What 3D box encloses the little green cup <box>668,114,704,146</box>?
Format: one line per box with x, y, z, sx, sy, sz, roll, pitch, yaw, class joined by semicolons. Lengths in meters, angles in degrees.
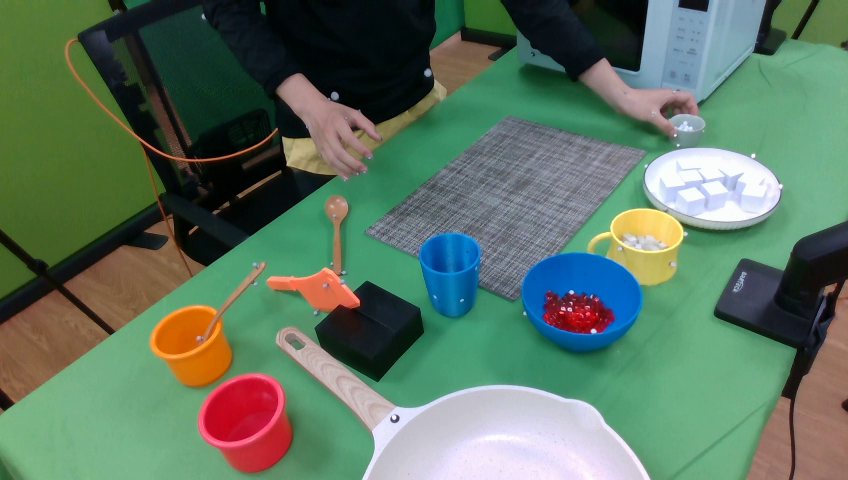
0.484;-0.203;1.122;0.061;0.039;0.061;-4;41;4;little green cup

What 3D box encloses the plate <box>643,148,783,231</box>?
0.464;-0.080;0.986;0.207;0.039;0.206;-4;41;4;plate

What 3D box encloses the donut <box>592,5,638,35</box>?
0.428;-0.492;1.352;0.099;0.048;0.098;-6;42;6;donut

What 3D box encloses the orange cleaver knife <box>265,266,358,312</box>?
-0.164;0.073;0.864;0.210;0.077;0.012;-6;31;50;orange cleaver knife

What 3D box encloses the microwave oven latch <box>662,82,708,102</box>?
0.517;-0.298;1.202;0.078;0.029;0.030;27;52;34;microwave oven latch

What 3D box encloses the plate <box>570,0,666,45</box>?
0.436;-0.489;1.368;0.209;0.038;0.208;-5;40;5;plate

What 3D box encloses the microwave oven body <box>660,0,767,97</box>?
0.473;-0.516;1.313;0.438;0.261;0.327;26;51;34;microwave oven body

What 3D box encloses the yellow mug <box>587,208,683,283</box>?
0.305;0.009;0.884;0.131;0.064;0.099;-4;41;5;yellow mug

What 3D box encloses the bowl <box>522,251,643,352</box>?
0.204;0.093;0.792;0.151;0.077;0.150;-4;40;4;bowl

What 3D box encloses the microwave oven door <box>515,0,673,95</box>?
0.344;-0.458;1.256;0.353;0.245;0.039;26;51;33;microwave oven door

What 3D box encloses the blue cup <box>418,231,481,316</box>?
0.039;0.053;0.843;0.092;0.100;0.092;-4;43;4;blue cup

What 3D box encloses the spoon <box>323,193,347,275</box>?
-0.148;-0.014;1.008;0.042;0.022;0.192;1;40;-9;spoon

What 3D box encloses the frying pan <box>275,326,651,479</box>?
0.004;0.229;0.641;0.484;0.103;0.308;34;54;28;frying pan

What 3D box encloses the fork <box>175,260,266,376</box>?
-0.268;0.103;0.792;0.207;0.019;0.028;-51;41;16;fork
